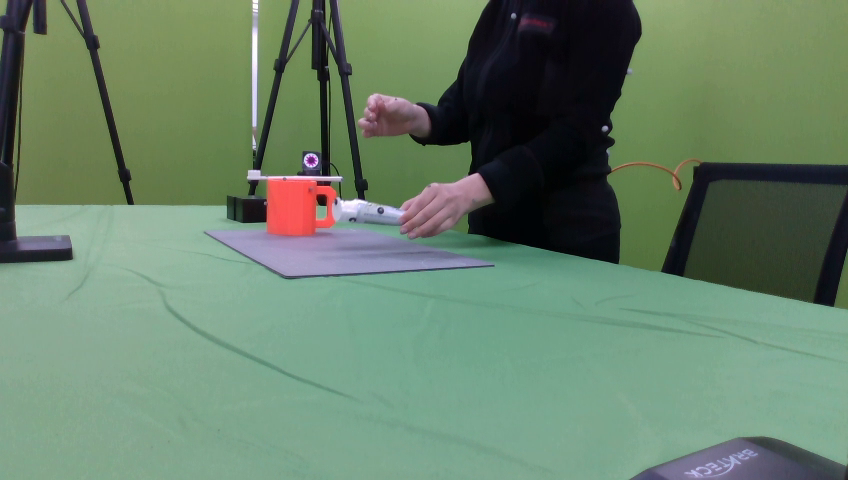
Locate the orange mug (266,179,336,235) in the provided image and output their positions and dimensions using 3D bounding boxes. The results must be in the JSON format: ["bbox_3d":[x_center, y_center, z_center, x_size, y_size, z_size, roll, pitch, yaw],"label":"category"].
[{"bbox_3d":[-0.222,-0.062,1.094,0.127,0.101,0.083,-5,10,-22],"label":"orange mug"}]

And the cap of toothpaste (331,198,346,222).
[{"bbox_3d":[-0.124,-0.044,0.876,0.011,0.037,0.037,-5,10,-35],"label":"cap of toothpaste"}]

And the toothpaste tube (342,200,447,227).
[{"bbox_3d":[-0.049,-0.035,0.909,0.166,0.034,0.055,6,15,-24],"label":"toothpaste tube"}]

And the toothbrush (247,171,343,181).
[{"bbox_3d":[-0.230,-0.115,1.092,0.183,0.016,0.014,-2,5,-35],"label":"toothbrush"}]
